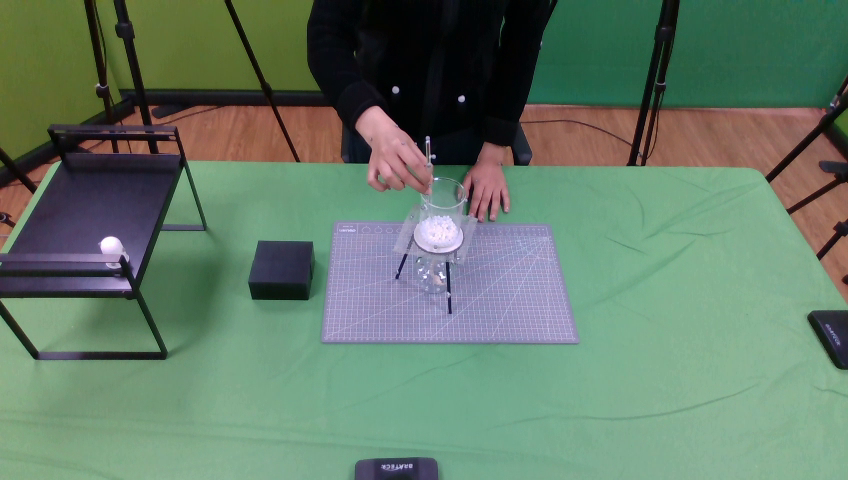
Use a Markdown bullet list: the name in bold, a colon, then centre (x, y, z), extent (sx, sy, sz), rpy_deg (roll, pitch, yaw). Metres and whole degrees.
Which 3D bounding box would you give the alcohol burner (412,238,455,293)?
- **alcohol burner**: centre (0.019, 0.040, 1.094), extent (0.078, 0.119, 0.077), rpy_deg (3, 45, -3)

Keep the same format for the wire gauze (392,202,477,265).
- **wire gauze**: centre (0.021, -0.011, 1.038), extent (0.121, 0.011, 0.124), rpy_deg (13, 49, 9)

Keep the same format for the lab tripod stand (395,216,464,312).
- **lab tripod stand**: centre (0.023, 0.037, 1.084), extent (0.148, 0.132, 0.147), rpy_deg (4, 46, -4)

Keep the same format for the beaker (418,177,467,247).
- **beaker**: centre (0.026, -0.045, 1.004), extent (0.074, 0.101, 0.083), rpy_deg (-20, 51, -22)

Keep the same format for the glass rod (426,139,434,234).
- **glass rod**: centre (0.010, -0.078, 0.951), extent (0.008, 0.201, 0.008), rpy_deg (-1, 48, 2)

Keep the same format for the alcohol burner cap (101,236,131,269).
- **alcohol burner cap**: centre (-0.452, 0.016, 0.883), extent (0.034, 0.048, 0.033), rpy_deg (2, 47, -1)
